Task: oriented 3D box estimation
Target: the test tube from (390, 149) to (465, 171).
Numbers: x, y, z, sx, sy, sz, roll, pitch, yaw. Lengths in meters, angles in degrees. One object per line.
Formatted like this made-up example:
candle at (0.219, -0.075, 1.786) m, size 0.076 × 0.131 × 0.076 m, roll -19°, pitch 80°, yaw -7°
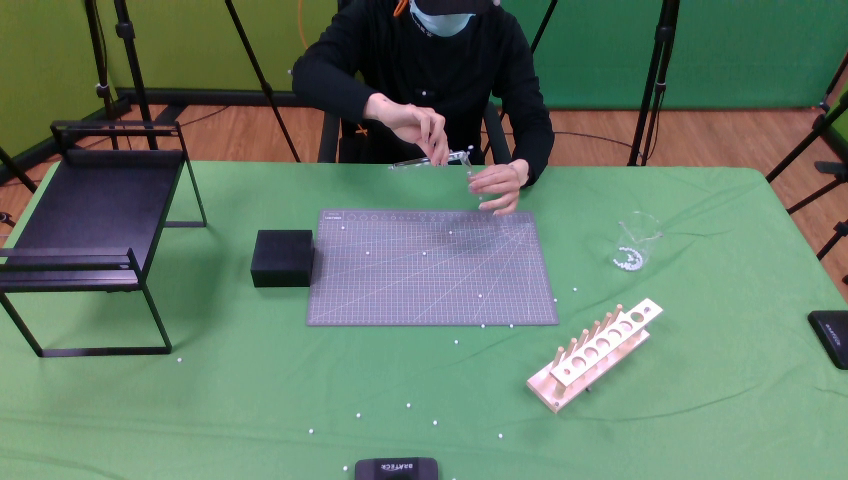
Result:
test tube at (0.007, -0.141, 1.070) m, size 0.150 × 0.017 × 0.017 m, roll -16°, pitch 49°, yaw -29°

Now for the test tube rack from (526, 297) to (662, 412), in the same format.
test tube rack at (0.284, 0.176, 1.007) m, size 0.242 × 0.085 × 0.066 m, roll -29°, pitch 54°, yaw -27°

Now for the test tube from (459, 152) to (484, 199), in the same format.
test tube at (0.093, -0.122, 1.168) m, size 0.017 × 0.151 × 0.017 m, roll -9°, pitch 59°, yaw 16°

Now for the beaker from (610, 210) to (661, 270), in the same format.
beaker at (0.404, 0.005, 1.170) m, size 0.074 × 0.101 × 0.083 m, roll 19°, pitch 49°, yaw 15°
